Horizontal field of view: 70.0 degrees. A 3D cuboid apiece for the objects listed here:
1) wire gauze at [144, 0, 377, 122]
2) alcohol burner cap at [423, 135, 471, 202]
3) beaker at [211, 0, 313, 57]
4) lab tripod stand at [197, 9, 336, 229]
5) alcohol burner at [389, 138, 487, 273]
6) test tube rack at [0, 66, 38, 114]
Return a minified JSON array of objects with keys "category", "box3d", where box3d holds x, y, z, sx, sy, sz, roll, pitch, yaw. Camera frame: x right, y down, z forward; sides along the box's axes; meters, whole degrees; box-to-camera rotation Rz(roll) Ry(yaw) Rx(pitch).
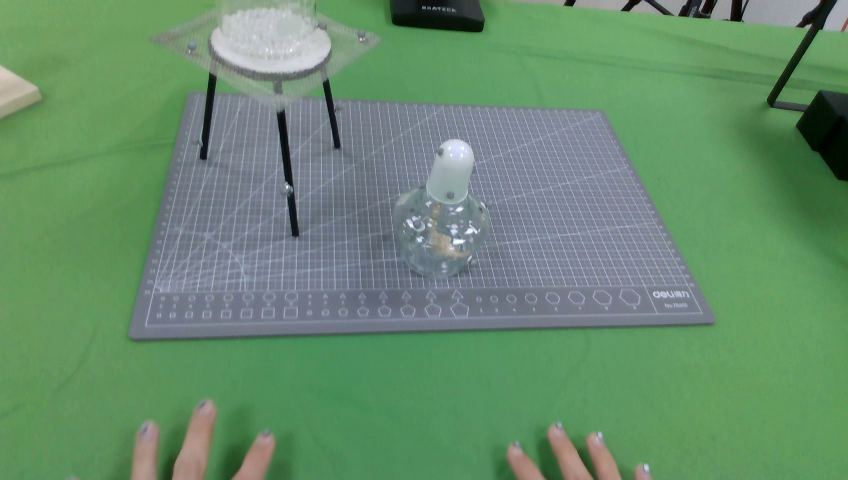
[{"category":"wire gauze","box3d":[-0.116,-0.147,0.448,0.124,0.011,0.121,32,52,13]},{"category":"alcohol burner cap","box3d":[0.019,-0.054,0.440,0.034,0.048,0.033,5,51,-6]},{"category":"beaker","box3d":[-0.114,-0.185,0.416,0.073,0.101,0.084,36,53,21]},{"category":"lab tripod stand","box3d":[-0.123,-0.103,0.496,0.149,0.132,0.147,7,47,-7]},{"category":"alcohol burner","box3d":[0.013,-0.031,0.467,0.078,0.120,0.077,6,45,-6]},{"category":"test tube rack","box3d":[-0.452,-0.111,0.479,0.066,0.086,0.241,29,49,16]}]
